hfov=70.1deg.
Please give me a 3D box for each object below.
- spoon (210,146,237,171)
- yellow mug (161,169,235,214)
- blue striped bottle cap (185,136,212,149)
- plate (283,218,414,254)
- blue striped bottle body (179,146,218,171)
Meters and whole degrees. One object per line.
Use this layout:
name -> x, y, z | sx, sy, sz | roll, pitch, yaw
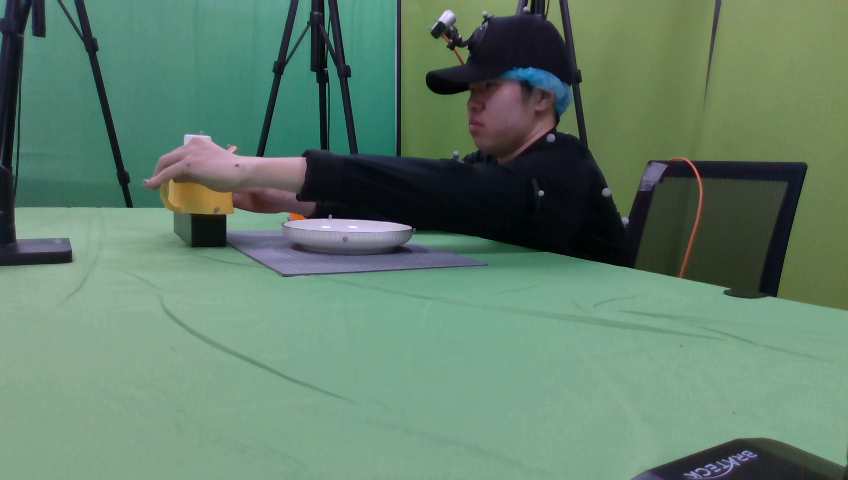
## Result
spoon -> -0.342, -0.112, 0.990 | 0.041, 0.021, 0.193 | 3, 37, 6
yellow mug -> -0.354, -0.076, 0.933 | 0.099, 0.064, 0.131 | 5, 7, 21
blue striped bottle cap -> -0.390, -0.169, 1.047 | 0.044, 0.020, 0.044 | 4, 9, 0
plate -> -0.120, -0.007, 0.971 | 0.208, 0.039, 0.207 | 2, 7, 0
blue striped bottle body -> -0.392, -0.119, 1.052 | 0.063, 0.120, 0.063 | 2, 8, 0
